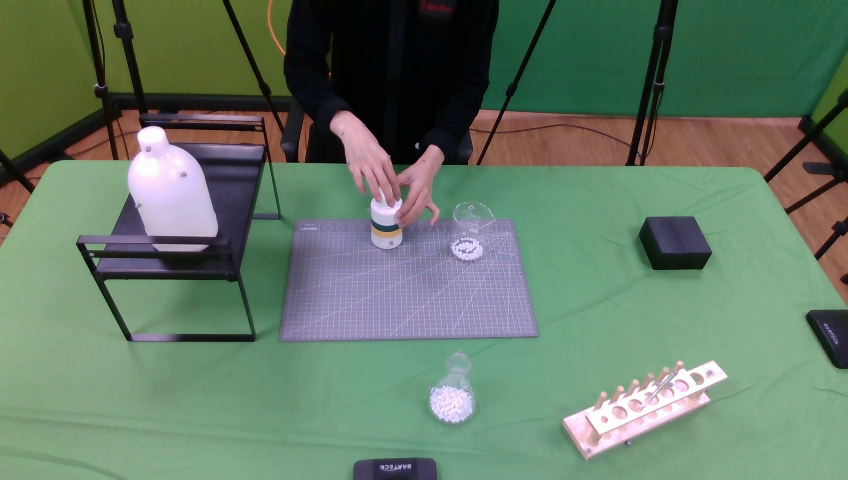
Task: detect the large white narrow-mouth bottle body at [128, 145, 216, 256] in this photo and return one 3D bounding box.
[{"bbox_3d":[-0.366,-0.073,0.872,0.102,0.195,0.101,3,47,-3],"label":"large white narrow-mouth bottle body"}]

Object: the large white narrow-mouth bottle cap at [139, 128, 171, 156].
[{"bbox_3d":[-0.358,-0.131,0.808,0.038,0.024,0.037,3,47,-3],"label":"large white narrow-mouth bottle cap"}]

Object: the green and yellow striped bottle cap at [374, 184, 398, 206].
[{"bbox_3d":[-0.070,-0.084,1.123,0.045,0.020,0.045,2,45,-2],"label":"green and yellow striped bottle cap"}]

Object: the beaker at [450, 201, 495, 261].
[{"bbox_3d":[0.089,-0.014,1.161,0.084,0.101,0.073,9,47,4],"label":"beaker"}]

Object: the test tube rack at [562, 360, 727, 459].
[{"bbox_3d":[0.341,0.247,0.940,0.243,0.085,0.066,-16,49,-19],"label":"test tube rack"}]

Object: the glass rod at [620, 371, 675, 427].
[{"bbox_3d":[0.316,0.230,0.863,0.008,0.200,0.008,3,54,-3],"label":"glass rod"}]

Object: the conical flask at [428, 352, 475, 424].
[{"bbox_3d":[0.046,0.220,0.920,0.075,0.122,0.075,2,46,-2],"label":"conical flask"}]

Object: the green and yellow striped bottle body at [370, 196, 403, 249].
[{"bbox_3d":[-0.073,-0.045,1.163,0.063,0.120,0.063,2,46,-2],"label":"green and yellow striped bottle body"}]
